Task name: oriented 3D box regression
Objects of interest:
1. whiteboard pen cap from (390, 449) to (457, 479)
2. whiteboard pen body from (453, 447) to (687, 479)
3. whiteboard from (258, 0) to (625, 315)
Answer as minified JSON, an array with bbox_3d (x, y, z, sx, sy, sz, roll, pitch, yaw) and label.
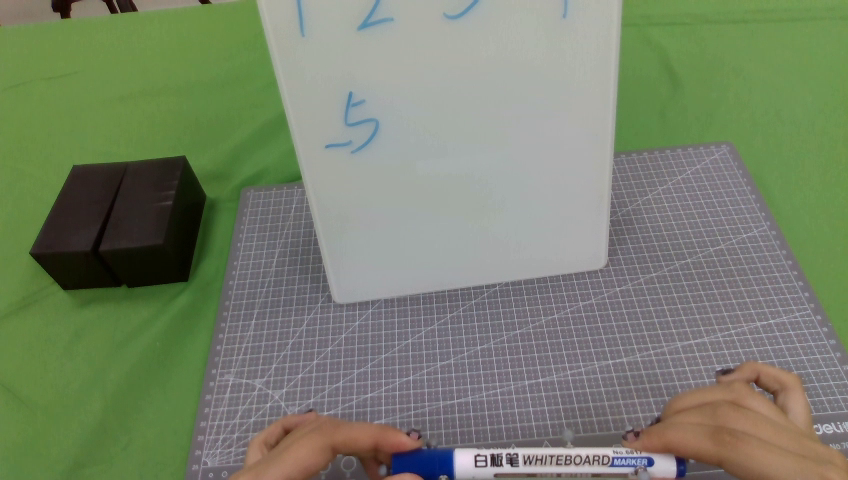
[{"bbox_3d":[0.000,0.115,0.306,0.033,0.018,0.018,1,51,1],"label":"whiteboard pen cap"},{"bbox_3d":[0.060,0.114,0.306,0.141,0.017,0.017,-2,50,4],"label":"whiteboard pen body"},{"bbox_3d":[0.016,-0.121,0.447,0.217,0.308,0.142,-7,31,1],"label":"whiteboard"}]
